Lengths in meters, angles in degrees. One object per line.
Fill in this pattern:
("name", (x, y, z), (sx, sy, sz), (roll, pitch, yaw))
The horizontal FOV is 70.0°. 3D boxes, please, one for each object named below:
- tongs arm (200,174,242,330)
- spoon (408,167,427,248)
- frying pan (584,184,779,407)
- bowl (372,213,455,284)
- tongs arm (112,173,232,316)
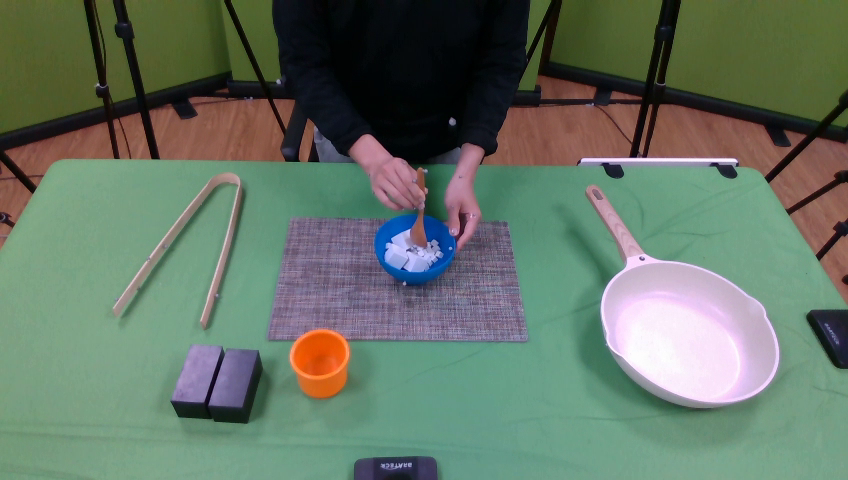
("tongs arm", (-0.387, 0.008, 1.158), (0.028, 0.028, 0.385), (-1, 46, -3))
("spoon", (-0.010, -0.053, 1.049), (0.041, 0.195, 0.021), (31, 50, 25))
("frying pan", (0.412, 0.079, 1.097), (0.307, 0.103, 0.484), (-10, 56, -15))
("bowl", (-0.020, 0.029, 1.124), (0.151, 0.077, 0.150), (2, 46, -2))
("tongs arm", (-0.467, -0.005, 1.157), (0.051, 0.026, 0.382), (11, 45, 4))
